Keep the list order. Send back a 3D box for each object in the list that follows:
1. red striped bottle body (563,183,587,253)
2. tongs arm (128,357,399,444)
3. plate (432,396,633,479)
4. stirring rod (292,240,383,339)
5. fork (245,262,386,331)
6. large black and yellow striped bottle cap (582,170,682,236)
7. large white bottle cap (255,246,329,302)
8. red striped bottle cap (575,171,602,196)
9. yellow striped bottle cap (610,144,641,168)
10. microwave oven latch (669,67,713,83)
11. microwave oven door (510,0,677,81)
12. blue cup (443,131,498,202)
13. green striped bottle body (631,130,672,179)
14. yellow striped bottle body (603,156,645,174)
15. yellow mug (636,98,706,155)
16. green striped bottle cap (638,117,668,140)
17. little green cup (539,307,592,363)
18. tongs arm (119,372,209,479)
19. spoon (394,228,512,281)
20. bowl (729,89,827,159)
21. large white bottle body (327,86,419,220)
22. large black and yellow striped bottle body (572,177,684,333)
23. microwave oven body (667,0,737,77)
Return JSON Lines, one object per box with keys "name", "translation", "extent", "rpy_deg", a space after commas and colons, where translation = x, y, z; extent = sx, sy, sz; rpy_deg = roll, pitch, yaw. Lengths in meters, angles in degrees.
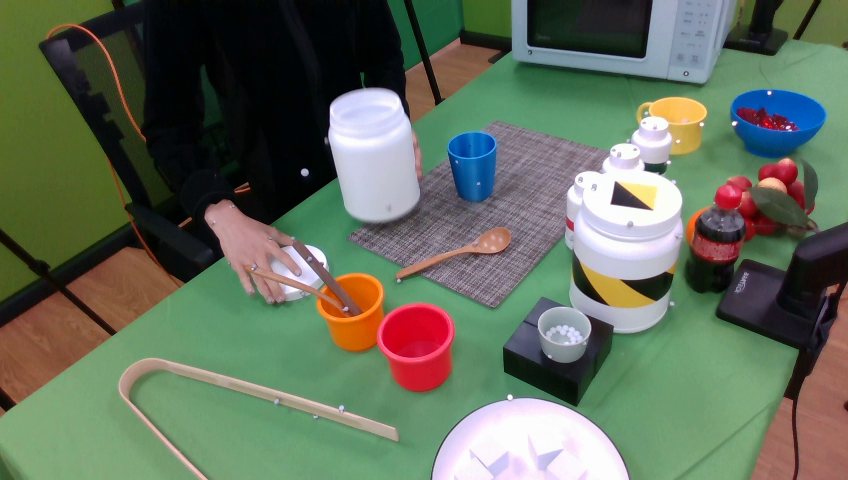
{"name": "red striped bottle body", "translation": [0.246, -0.041, 0.910], "extent": [0.063, 0.120, 0.062], "rpy_deg": [-2, 38, 2]}
{"name": "tongs arm", "translation": [-0.213, 0.205, 0.755], "extent": [0.382, 0.026, 0.051], "rpy_deg": [12, 46, 23]}
{"name": "plate", "translation": [0.112, 0.261, 0.634], "extent": [0.209, 0.038, 0.208], "rpy_deg": [-5, 40, 4]}
{"name": "stirring rod", "translation": [-0.118, 0.068, 0.825], "extent": [0.176, 0.006, 0.014], "rpy_deg": [48, 59, -3]}
{"name": "fork", "translation": [-0.141, 0.076, 0.807], "extent": [0.209, 0.018, 0.028], "rpy_deg": [30, 51, -24]}
{"name": "large black and yellow striped bottle cap", "translation": [0.252, -0.048, 0.735], "extent": [0.115, 0.019, 0.114], "rpy_deg": [-3, 40, 3]}
{"name": "large white bottle cap", "translation": [-0.208, 0.051, 0.952], "extent": [0.115, 0.018, 0.114], "rpy_deg": [-3, 40, 3]}
{"name": "red striped bottle cap", "translation": [0.242, -0.081, 0.876], "extent": [0.044, 0.018, 0.044], "rpy_deg": [-5, 44, 5]}
{"name": "yellow striped bottle cap", "translation": [0.307, -0.128, 0.923], "extent": [0.044, 0.019, 0.044], "rpy_deg": [-6, 39, 5]}
{"name": "microwave oven latch", "translation": [0.556, -0.349, 1.261], "extent": [0.078, 0.029, 0.030], "rpy_deg": [16, 46, 27]}
{"name": "microwave oven door", "translation": [0.354, -0.478, 1.290], "extent": [0.353, 0.245, 0.039], "rpy_deg": [15, 45, 25]}
{"name": "blue cup", "translation": [0.086, -0.122, 1.040], "extent": [0.092, 0.100, 0.092], "rpy_deg": [-5, 42, 5]}
{"name": "green striped bottle body", "translation": [0.375, -0.140, 1.007], "extent": [0.063, 0.120, 0.063], "rpy_deg": [-5, 40, 5]}
{"name": "yellow striped bottle body", "translation": [0.313, -0.089, 0.956], "extent": [0.063, 0.121, 0.062], "rpy_deg": [-4, 40, 4]}
{"name": "yellow mug", "translation": [0.453, -0.218, 1.129], "extent": [0.100, 0.064, 0.129], "rpy_deg": [-35, 46, -26]}
{"name": "green striped bottle cap", "translation": [0.369, -0.180, 0.974], "extent": [0.044, 0.020, 0.044], "rpy_deg": [-4, 41, 4]}
{"name": "little green cup", "translation": [0.168, 0.115, 0.721], "extent": [0.061, 0.039, 0.061], "rpy_deg": [-4, 42, 4]}
{"name": "tongs arm", "translation": [-0.258, 0.257, 0.700], "extent": [0.384, 0.028, 0.028], "rpy_deg": [24, 55, 34]}
{"name": "spoon", "translation": [0.045, 0.024, 0.935], "extent": [0.194, 0.022, 0.041], "rpy_deg": [-18, 66, -11]}
{"name": "bowl", "translation": [0.615, -0.197, 1.069], "extent": [0.151, 0.077, 0.150], "rpy_deg": [-5, 40, 5]}
{"name": "large white bottle body", "translation": [-0.081, -0.140, 0.968], "extent": [0.130, 0.185, 0.130], "rpy_deg": [-4, 39, 4]}
{"name": "large black and yellow striped bottle body", "translation": [0.262, 0.017, 0.788], "extent": [0.131, 0.185, 0.130], "rpy_deg": [-5, 40, 4]}
{"name": "microwave oven body", "translation": [0.462, -0.552, 1.368], "extent": [0.439, 0.261, 0.326], "rpy_deg": [15, 45, 26]}
